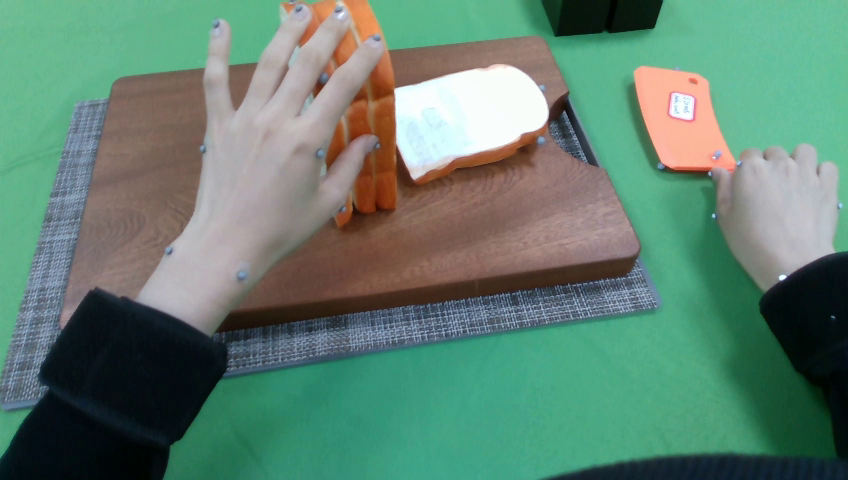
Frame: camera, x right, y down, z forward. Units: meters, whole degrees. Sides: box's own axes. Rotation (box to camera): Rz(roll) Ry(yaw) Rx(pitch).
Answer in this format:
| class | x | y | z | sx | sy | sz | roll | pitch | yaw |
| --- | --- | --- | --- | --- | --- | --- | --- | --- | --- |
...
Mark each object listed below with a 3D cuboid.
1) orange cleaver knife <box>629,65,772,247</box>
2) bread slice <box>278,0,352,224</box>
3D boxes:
| class | x | y | z | sx | sy | sz | roll | pitch | yaw |
| --- | --- | --- | --- | --- | --- | --- | --- | --- | --- |
| orange cleaver knife | 0.232 | -0.082 | 0.524 | 0.077 | 0.012 | 0.209 | -2 | 55 | -5 |
| bread slice | -0.077 | -0.094 | 0.423 | 0.018 | 0.135 | 0.106 | -17 | 49 | -15 |
